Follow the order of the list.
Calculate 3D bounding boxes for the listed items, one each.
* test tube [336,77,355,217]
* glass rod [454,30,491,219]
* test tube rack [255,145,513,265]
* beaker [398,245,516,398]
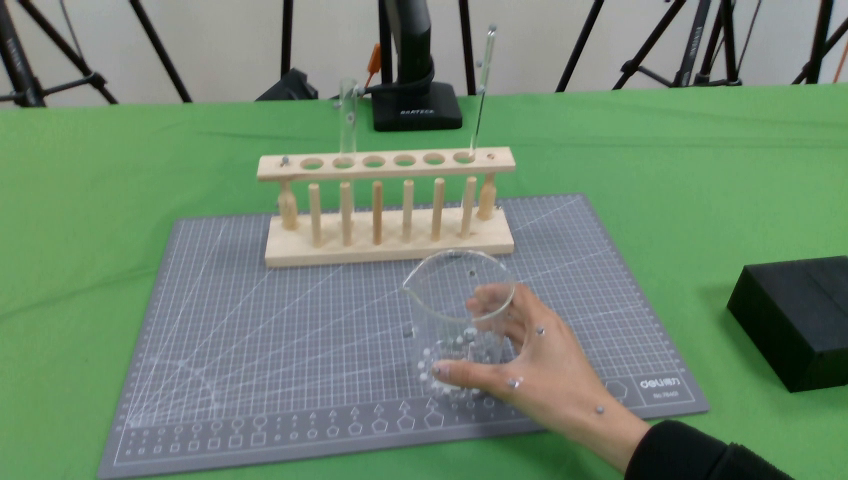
[{"bbox_3d":[-0.074,-0.081,0.569,0.017,0.151,0.017,4,41,-3],"label":"test tube"},{"bbox_3d":[0.043,-0.098,0.567,0.008,0.201,0.008,4,41,-3],"label":"glass rod"},{"bbox_3d":[-0.036,-0.035,0.593,0.243,0.086,0.066,-3,40,-6],"label":"test tube rack"},{"bbox_3d":[0.022,0.065,0.460,0.084,0.101,0.073,1,41,-1],"label":"beaker"}]
